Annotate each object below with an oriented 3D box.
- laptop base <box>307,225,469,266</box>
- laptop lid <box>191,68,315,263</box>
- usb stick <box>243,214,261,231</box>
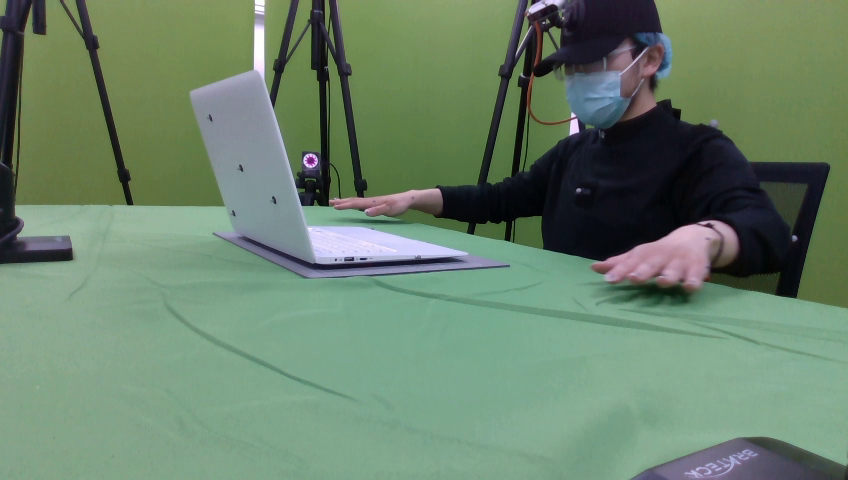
[{"bbox_3d":[-0.125,0.006,0.936,0.237,0.023,0.352,1,7,-33],"label":"laptop base"},{"bbox_3d":[-0.250,-0.102,0.838,0.013,0.242,0.355,-22,20,-29],"label":"laptop lid"},{"bbox_3d":[-0.298,-0.030,1.053,0.021,0.027,0.059,0,10,-31],"label":"usb stick"}]
